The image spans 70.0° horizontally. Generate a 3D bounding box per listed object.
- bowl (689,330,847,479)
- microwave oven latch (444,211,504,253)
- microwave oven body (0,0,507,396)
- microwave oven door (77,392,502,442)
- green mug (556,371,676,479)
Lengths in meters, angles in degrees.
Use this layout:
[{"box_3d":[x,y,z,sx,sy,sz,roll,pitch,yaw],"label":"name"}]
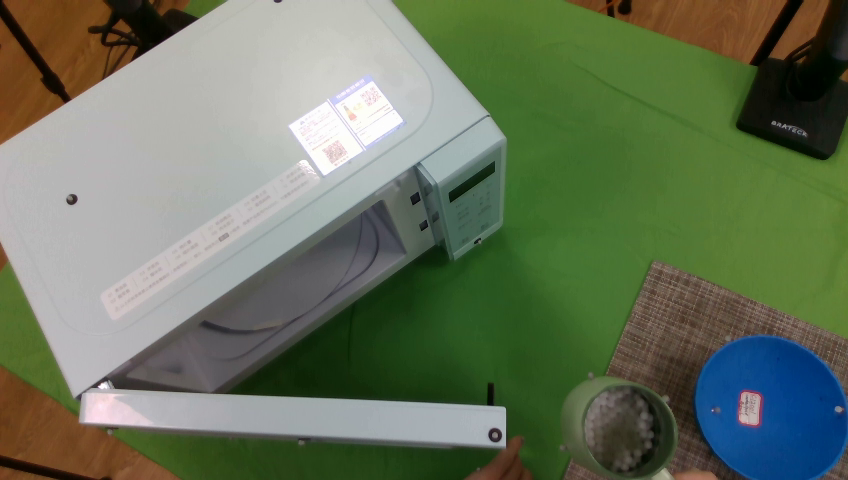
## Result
[{"box_3d":[0.353,0.176,0.647,0.151,0.077,0.150,-2,72,6],"label":"bowl"},{"box_3d":[0.062,-0.018,0.747,0.079,0.030,0.030,-33,72,-4],"label":"microwave oven latch"},{"box_3d":[-0.178,-0.059,0.683,0.441,0.262,0.324,-35,73,-5],"label":"microwave oven body"},{"box_3d":[-0.101,0.172,0.595,0.355,0.245,0.039,1,72,6],"label":"microwave oven door"},{"box_3d":[0.182,0.178,0.547,0.092,0.105,0.124,-38,77,-5],"label":"green mug"}]
